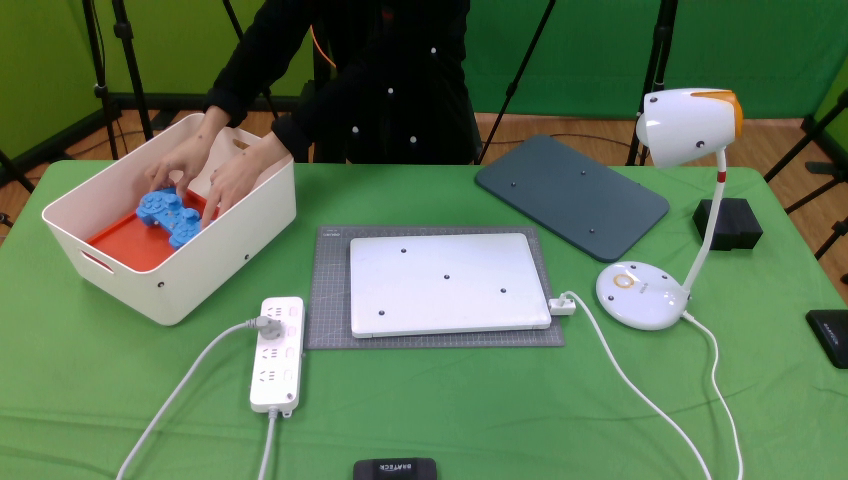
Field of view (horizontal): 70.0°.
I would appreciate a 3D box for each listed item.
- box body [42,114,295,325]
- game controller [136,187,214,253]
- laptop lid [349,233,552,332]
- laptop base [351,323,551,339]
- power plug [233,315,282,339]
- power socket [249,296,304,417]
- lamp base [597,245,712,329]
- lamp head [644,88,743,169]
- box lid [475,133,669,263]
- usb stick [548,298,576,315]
[{"bbox_3d":[-0.437,-0.046,1.110,0.253,0.161,0.363,24,49,19],"label":"box body"},{"bbox_3d":[-0.433,-0.040,1.072,0.154,0.052,0.097,36,60,20],"label":"game controller"},{"bbox_3d":[0.040,0.071,1.118,0.357,0.013,0.240,-1,44,-5],"label":"laptop lid"},{"bbox_3d":[0.040,0.081,1.125,0.355,0.023,0.234,-2,43,-6],"label":"laptop base"},{"bbox_3d":[-0.271,0.144,0.999,0.072,0.053,0.035,6,47,3],"label":"power plug"},{"bbox_3d":[-0.239,0.182,0.996,0.072,0.033,0.225,-2,47,-5],"label":"power socket"},{"bbox_3d":[0.418,0.051,1.071,0.179,0.181,0.160,22,49,13],"label":"lamp base"},{"bbox_3d":[0.380,-0.161,0.851,0.122,0.113,0.112,-4,42,25],"label":"lamp head"},{"bbox_3d":[0.324,-0.105,1.334,0.369,0.015,0.263,36,54,27],"label":"box lid"},{"bbox_3d":[0.240,0.120,1.085,0.059,0.027,0.021,-2,51,-2],"label":"usb stick"}]
